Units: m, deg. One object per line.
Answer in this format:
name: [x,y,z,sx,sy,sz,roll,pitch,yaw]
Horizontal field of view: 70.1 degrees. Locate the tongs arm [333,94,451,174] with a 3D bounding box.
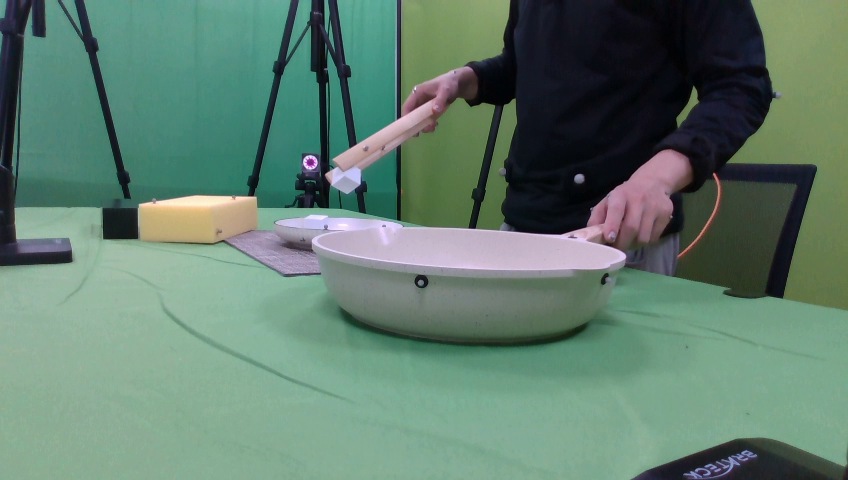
tongs arm: [-0.040,-0.193,1.046,0.028,0.028,0.388,-45,0,40]

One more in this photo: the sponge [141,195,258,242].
sponge: [-0.380,-0.040,1.047,0.118,0.061,0.207,1,8,3]

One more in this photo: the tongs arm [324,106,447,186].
tongs arm: [-0.053,-0.182,1.061,0.050,0.026,0.385,-41,3,35]

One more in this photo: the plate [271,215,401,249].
plate: [-0.141,-0.012,0.978,0.208,0.039,0.207,3,7,0]

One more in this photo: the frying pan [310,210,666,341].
frying pan: [0.120,0.011,0.643,0.490,0.102,0.305,-13,16,-36]
